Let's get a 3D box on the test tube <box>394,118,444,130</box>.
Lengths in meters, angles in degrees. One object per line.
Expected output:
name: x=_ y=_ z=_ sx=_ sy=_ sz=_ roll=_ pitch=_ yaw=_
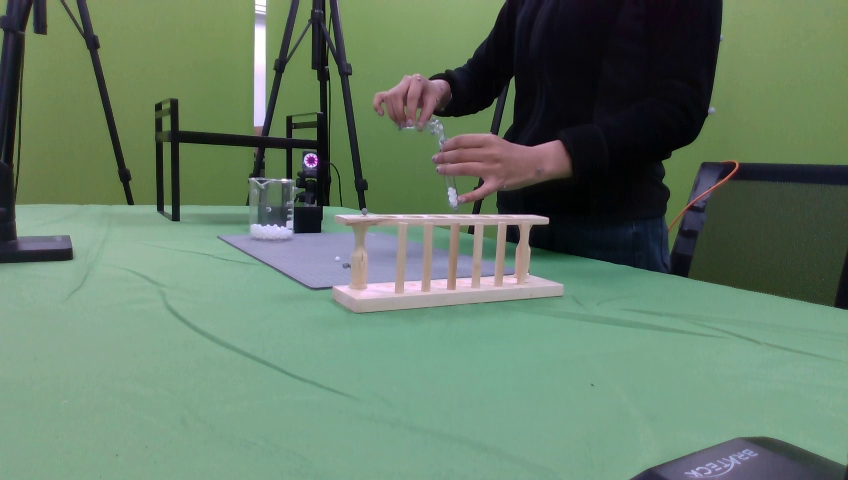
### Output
test tube: x=-0.011 y=-0.188 z=0.977 sx=0.017 sy=0.017 sz=0.150 roll=-2 pitch=12 yaw=-29

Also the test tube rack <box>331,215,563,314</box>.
test tube rack: x=0.031 y=0.019 z=0.625 sx=0.243 sy=0.085 sz=0.066 roll=-1 pitch=8 yaw=-28

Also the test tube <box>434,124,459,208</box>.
test tube: x=0.033 y=-0.109 z=0.877 sx=0.017 sy=0.150 sz=0.017 roll=-7 pitch=-32 yaw=-4

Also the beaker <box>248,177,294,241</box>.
beaker: x=-0.252 y=-0.051 z=0.992 sx=0.074 sy=0.100 sz=0.084 roll=3 pitch=9 yaw=6
